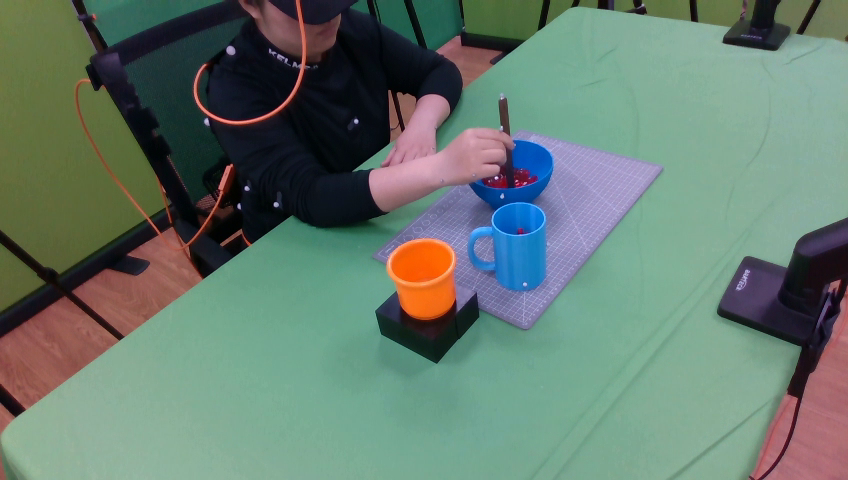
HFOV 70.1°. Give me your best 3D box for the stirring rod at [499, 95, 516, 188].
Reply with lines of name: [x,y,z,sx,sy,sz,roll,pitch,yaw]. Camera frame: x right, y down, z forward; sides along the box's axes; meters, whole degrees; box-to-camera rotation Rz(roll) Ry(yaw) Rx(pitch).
stirring rod: [0.130,-0.145,0.941,0.014,0.177,0.005,-26,42,-14]

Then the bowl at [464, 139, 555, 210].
bowl: [0.145,-0.100,1.025,0.151,0.077,0.150,-5,40,5]

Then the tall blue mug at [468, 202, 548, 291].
tall blue mug: [0.125,0.015,0.869,0.107,0.108,0.077,-21,42,-14]
